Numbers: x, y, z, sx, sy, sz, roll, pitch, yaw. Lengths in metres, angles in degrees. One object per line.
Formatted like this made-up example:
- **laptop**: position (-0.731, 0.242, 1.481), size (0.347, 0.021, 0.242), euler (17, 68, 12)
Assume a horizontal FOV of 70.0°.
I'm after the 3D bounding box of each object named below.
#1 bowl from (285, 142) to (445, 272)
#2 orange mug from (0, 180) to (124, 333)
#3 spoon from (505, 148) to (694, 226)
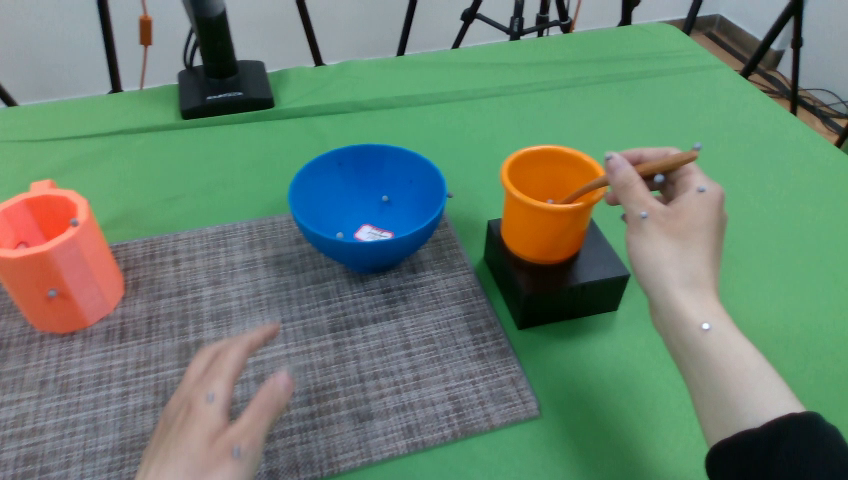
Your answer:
- **bowl**: position (-0.055, -0.022, 0.595), size (0.151, 0.077, 0.150), euler (1, 44, -1)
- **orange mug**: position (-0.332, 0.006, 0.543), size (0.083, 0.101, 0.125), euler (-16, 51, -17)
- **spoon**: position (0.134, -0.042, 0.498), size (0.022, 0.193, 0.041), euler (49, 59, -10)
